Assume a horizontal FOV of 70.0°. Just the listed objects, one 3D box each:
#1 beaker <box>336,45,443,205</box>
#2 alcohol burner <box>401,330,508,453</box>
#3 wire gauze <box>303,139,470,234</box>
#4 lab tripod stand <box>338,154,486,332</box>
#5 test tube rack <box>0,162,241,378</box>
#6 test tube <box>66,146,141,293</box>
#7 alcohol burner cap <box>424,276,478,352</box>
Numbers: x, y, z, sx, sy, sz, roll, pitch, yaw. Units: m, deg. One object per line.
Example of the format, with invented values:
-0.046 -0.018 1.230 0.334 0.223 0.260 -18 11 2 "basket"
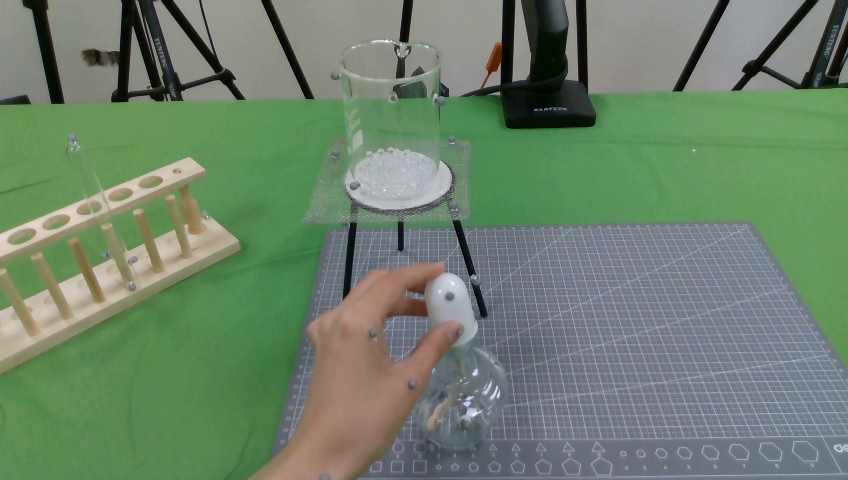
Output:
-0.023 -0.085 0.451 0.074 0.101 0.083 7 39 7 "beaker"
0.021 0.095 0.424 0.078 0.120 0.077 -1 40 1 "alcohol burner"
-0.024 -0.046 0.480 0.121 0.011 0.124 1 41 3 "wire gauze"
-0.014 0.004 0.523 0.148 0.132 0.147 0 38 0 "lab tripod stand"
-0.301 0.021 0.558 0.242 0.086 0.066 -31 47 -32 "test tube rack"
-0.278 -0.013 0.528 0.017 0.151 0.017 -1 38 1 "test tube"
0.016 0.045 0.389 0.034 0.048 0.033 -8 35 6 "alcohol burner cap"
